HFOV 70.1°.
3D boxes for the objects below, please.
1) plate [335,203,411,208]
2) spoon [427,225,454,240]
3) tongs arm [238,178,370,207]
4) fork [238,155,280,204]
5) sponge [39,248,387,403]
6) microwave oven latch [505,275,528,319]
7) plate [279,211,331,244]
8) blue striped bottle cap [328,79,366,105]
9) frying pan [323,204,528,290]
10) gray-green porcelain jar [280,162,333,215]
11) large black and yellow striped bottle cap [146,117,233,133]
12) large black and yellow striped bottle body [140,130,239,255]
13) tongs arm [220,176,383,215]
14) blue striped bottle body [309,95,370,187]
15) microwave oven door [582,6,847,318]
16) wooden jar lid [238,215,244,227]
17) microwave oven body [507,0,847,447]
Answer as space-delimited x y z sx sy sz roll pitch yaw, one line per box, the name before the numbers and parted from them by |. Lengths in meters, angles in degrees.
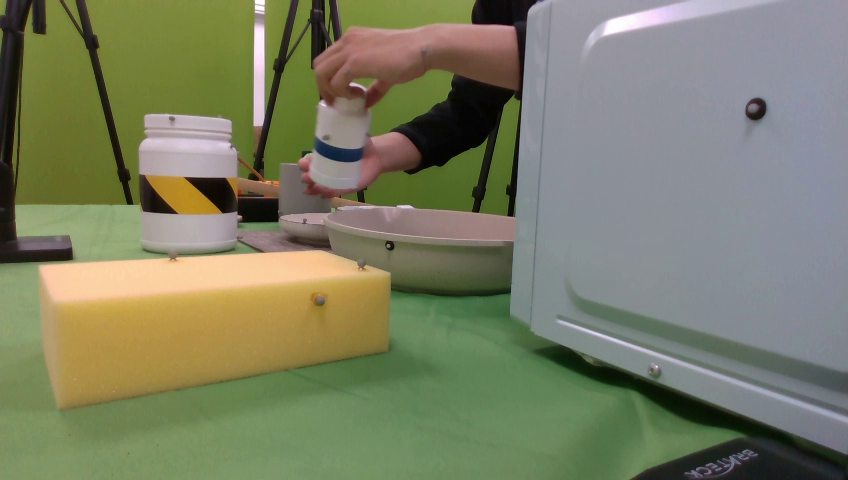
plate | -0.089 -0.053 1.309 0.208 0.039 0.207 2 8 0
spoon | 0.024 -0.019 1.125 0.042 0.021 0.193 -14 9 -5
tongs arm | -0.241 -0.095 1.374 0.387 0.026 0.050 9 0 -37
fork | -0.396 -0.143 1.486 0.028 0.018 0.208 19 -26 44
sponge | -0.142 0.047 0.420 0.208 0.061 0.117 -3 8 -37
microwave oven latch | 0.100 0.041 0.471 0.079 0.029 0.030 -1 7 -28
plate | -0.139 -0.022 1.021 0.209 0.038 0.209 2 8 0
blue striped bottle cap | -0.091 -0.176 0.717 0.044 0.020 0.044 7 27 -3
frying pan | 0.110 -0.018 0.800 0.490 0.102 0.305 -12 16 -30
gray-green porcelain jar | -0.238 -0.092 1.221 0.106 0.126 0.106 2 7 0
large black and yellow striped bottle cap | -0.333 -0.163 0.861 0.115 0.019 0.115 1 9 0
large black and yellow striped bottle body | -0.336 -0.078 0.871 0.131 0.184 0.130 2 8 0
tongs arm | -0.285 -0.104 1.445 0.389 0.027 0.028 10 -4 -23
blue striped bottle body | -0.103 -0.132 0.740 0.063 0.121 0.063 11 28 -6
microwave oven door | 0.295 -0.067 0.569 0.358 0.243 0.039 -3 8 -31
wooden jar lid | -0.404 -0.037 1.169 0.108 0.020 0.108 3 7 0
microwave oven body | 0.331 -0.042 0.425 0.444 0.260 0.324 -2 8 -31
